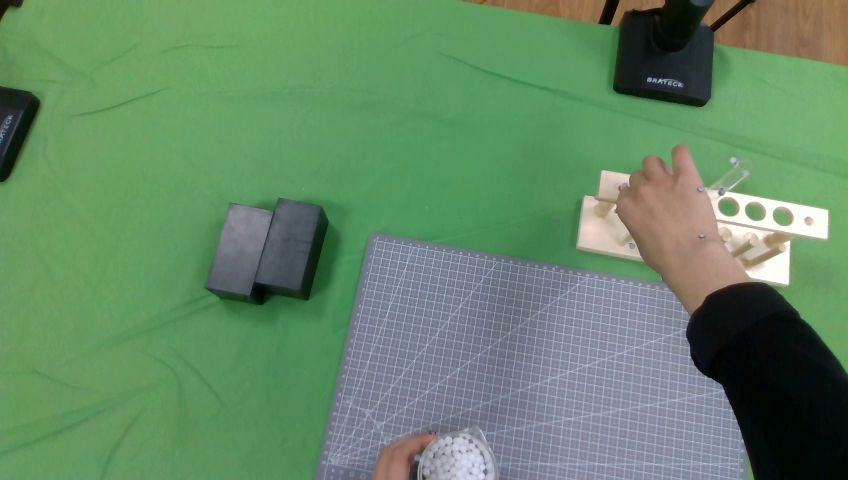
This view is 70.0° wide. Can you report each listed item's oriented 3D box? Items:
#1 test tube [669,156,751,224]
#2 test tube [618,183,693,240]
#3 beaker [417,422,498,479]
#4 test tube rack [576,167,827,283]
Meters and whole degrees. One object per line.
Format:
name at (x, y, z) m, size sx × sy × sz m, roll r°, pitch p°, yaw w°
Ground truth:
test tube at (0.297, -0.048, 0.640) m, size 0.017 × 0.151 × 0.017 m, roll 1°, pitch 70°, yaw -3°
test tube at (0.236, -0.027, 0.624) m, size 0.017 × 0.151 × 0.017 m, roll 1°, pitch 74°, yaw -4°
beaker at (0.032, 0.220, 0.598) m, size 0.074 × 0.101 × 0.083 m, roll 24°, pitch 73°, yaw 7°
test tube rack at (0.304, -0.015, 0.682) m, size 0.242 × 0.085 × 0.066 m, roll 10°, pitch 73°, yaw 3°
